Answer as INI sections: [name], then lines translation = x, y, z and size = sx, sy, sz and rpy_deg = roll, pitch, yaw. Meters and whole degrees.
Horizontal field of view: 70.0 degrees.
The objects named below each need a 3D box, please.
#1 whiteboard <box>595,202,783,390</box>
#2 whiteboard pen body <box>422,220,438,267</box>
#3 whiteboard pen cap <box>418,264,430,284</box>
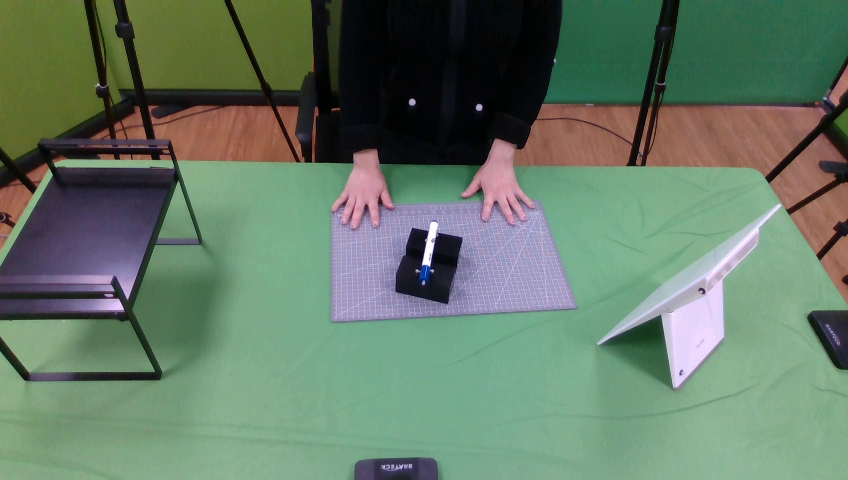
[whiteboard]
translation = 0.459, 0.112, 0.968
size = 0.217, 0.306, 0.143
rpy_deg = -31, 74, -29
[whiteboard pen body]
translation = 0.009, 0.017, 1.108
size = 0.017, 0.017, 0.140
rpy_deg = 8, 49, 4
[whiteboard pen cap]
translation = 0.001, 0.060, 1.069
size = 0.018, 0.018, 0.033
rpy_deg = 8, 48, 4
